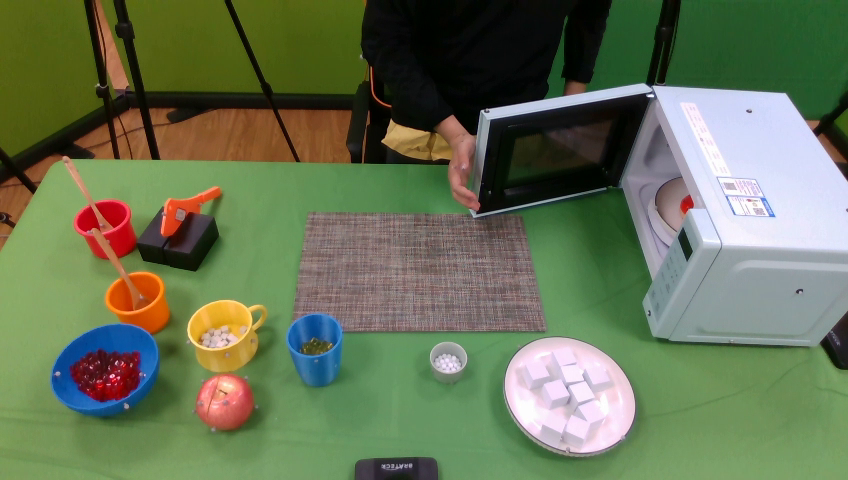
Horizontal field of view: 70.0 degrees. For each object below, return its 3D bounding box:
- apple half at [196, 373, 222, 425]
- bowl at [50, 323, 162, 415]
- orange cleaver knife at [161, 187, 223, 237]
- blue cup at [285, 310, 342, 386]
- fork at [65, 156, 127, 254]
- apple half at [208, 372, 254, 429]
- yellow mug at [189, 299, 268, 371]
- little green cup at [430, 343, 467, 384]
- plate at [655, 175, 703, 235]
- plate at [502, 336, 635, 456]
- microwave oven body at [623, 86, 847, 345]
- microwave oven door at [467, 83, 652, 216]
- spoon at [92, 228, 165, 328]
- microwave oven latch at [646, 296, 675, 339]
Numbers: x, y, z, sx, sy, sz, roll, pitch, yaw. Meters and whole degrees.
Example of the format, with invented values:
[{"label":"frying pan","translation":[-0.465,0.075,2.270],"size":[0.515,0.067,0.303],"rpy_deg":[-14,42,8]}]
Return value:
[{"label":"apple half","translation":[-0.322,0.239,0.907],"size":[0.033,0.081,0.081],"rpy_deg":[7,46,-1]},{"label":"bowl","translation":[-0.472,0.209,0.924],"size":[0.151,0.077,0.150],"rpy_deg":[3,45,-2]},{"label":"orange cleaver knife","translation":[-0.448,-0.058,1.180],"size":[0.012,0.077,0.211],"rpy_deg":[13,17,6]},{"label":"blue cup","translation":[-0.169,0.179,0.958],"size":[0.093,0.101,0.092],"rpy_deg":[1,44,-1]},{"label":"fork","translation":[-0.614,-0.064,1.130],"size":[0.028,0.018,0.207],"rpy_deg":[-29,97,-17]},{"label":"apple half","translation":[-0.282,0.244,0.908],"size":[0.053,0.075,0.080],"rpy_deg":[7,43,-1]},{"label":"yellow mug","translation":[-0.315,0.148,1.002],"size":[0.131,0.064,0.099],"rpy_deg":[-33,56,-31]},{"label":"little green cup","translation":[0.039,0.203,0.994],"size":[0.061,0.039,0.061],"rpy_deg":[2,46,-2]},{"label":"plate","translation":[0.555,-0.047,1.182],"size":[0.209,0.038,0.208],"rpy_deg":[1,45,-1]},{"label":"plate","translation":[0.225,0.248,0.963],"size":[0.208,0.039,0.206],"rpy_deg":[2,46,-2]},{"label":"microwave oven body","translation":[0.567,-0.053,1.118],"size":[0.326,0.261,0.439],"rpy_deg":[2,45,-1]},{"label":"microwave oven door","translation":[0.267,-0.180,1.213],"size":[0.356,0.245,0.039],"rpy_deg":[-13,49,-15]},{"label":"spoon","translation":[-0.496,0.063,1.014],"size":[0.041,0.194,0.021],"rpy_deg":[-33,12,-31]},{"label":"microwave oven latch","translation":[0.412,0.134,1.061],"size":[0.030,0.029,0.078],"rpy_deg":[4,45,1]}]
